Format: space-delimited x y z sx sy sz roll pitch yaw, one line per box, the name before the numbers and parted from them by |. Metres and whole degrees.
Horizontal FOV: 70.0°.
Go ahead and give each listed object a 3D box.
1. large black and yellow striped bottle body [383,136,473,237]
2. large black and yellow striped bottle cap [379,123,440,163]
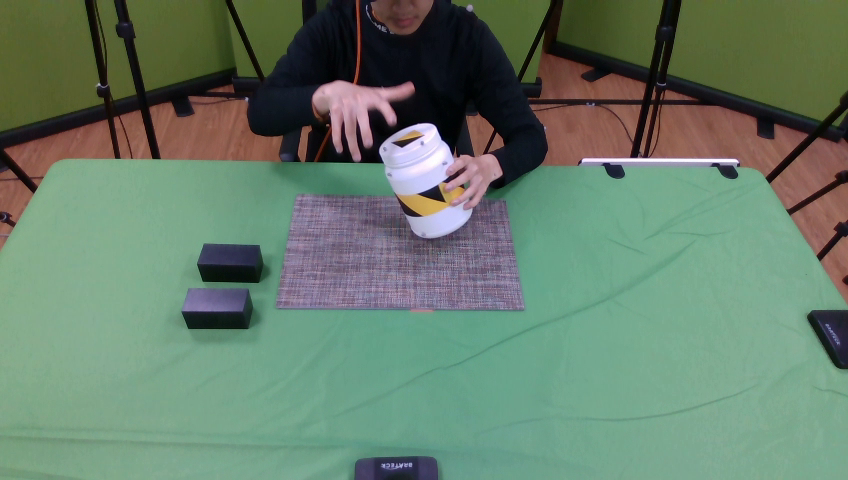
large black and yellow striped bottle body | 0.005 -0.112 1.148 0.131 0.185 0.130 -18 31 12
large black and yellow striped bottle cap | -0.027 -0.177 1.105 0.115 0.019 0.114 -18 30 11
